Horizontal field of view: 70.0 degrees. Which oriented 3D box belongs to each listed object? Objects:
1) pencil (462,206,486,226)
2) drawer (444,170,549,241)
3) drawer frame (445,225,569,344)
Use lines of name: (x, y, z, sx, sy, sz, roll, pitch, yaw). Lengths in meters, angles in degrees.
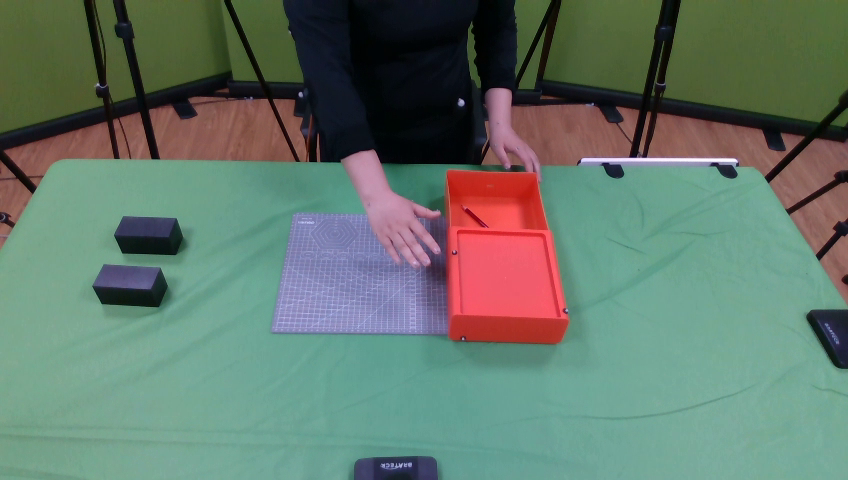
pencil: (0.134, -0.017, 1.222, 0.012, 0.012, 0.193, -25, 50, -26)
drawer: (0.140, -0.049, 1.217, 0.194, 0.073, 0.210, 2, 43, -3)
drawer frame: (0.141, 0.076, 1.089, 0.202, 0.083, 0.212, 2, 47, -3)
